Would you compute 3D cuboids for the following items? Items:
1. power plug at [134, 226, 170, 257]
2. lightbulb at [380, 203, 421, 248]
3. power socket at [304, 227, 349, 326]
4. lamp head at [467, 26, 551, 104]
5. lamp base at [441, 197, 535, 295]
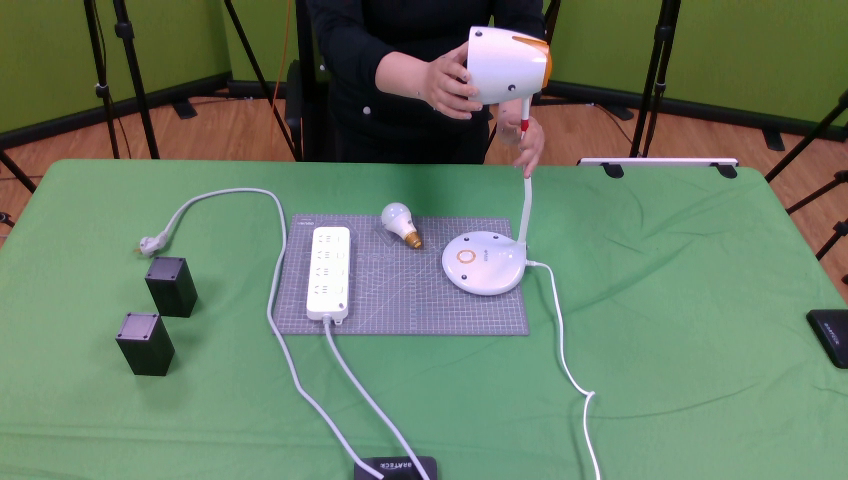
[{"bbox_3d":[-0.515,0.005,1.152,0.052,0.035,0.072,-5,24,7],"label":"power plug"},{"bbox_3d":[-0.043,-0.026,1.198,0.059,0.060,0.107,-29,70,-28],"label":"lightbulb"},{"bbox_3d":[-0.177,0.059,1.115,0.072,0.033,0.225,-1,46,-4],"label":"power socket"},{"bbox_3d":[0.124,-0.252,0.892,0.123,0.113,0.112,6,45,4],"label":"lamp head"},{"bbox_3d":[0.129,-0.012,1.105,0.179,0.181,0.159,-1,46,-9],"label":"lamp base"}]
